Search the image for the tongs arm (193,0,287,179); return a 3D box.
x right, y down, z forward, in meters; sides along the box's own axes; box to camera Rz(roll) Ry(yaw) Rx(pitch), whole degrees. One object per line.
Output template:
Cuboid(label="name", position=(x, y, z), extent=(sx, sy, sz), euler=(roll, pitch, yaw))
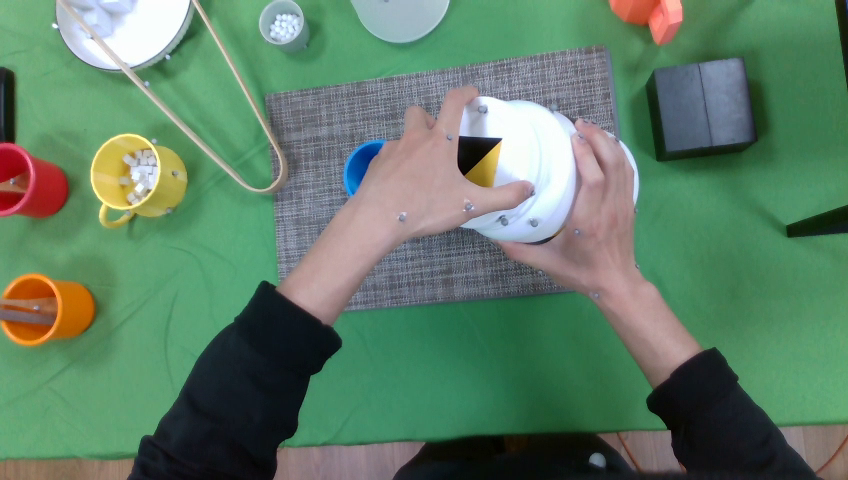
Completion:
Cuboid(label="tongs arm", position=(-0.277, -0.255, 0.803), extent=(0.028, 0.028, 0.387), euler=(-30, 88, -4))

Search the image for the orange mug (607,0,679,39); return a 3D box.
Cuboid(label="orange mug", position=(0.269, -0.308, 0.716), extent=(0.083, 0.101, 0.125), euler=(-16, 78, 7))

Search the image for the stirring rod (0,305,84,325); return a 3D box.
Cuboid(label="stirring rod", position=(-0.533, 0.090, 0.772), extent=(0.006, 0.177, 0.014), euler=(-22, 61, 49))

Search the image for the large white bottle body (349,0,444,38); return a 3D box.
Cuboid(label="large white bottle body", position=(-0.046, -0.339, 0.720), extent=(0.130, 0.185, 0.130), euler=(-1, 84, 9))

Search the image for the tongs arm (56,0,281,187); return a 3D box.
Cuboid(label="tongs arm", position=(-0.343, -0.202, 0.805), extent=(0.051, 0.026, 0.384), euler=(-44, 88, -1))

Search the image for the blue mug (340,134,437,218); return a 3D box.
Cuboid(label="blue mug", position=(-0.032, -0.069, 0.731), extent=(0.116, 0.106, 0.082), euler=(20, 88, 9))

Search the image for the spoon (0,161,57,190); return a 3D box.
Cuboid(label="spoon", position=(-0.588, -0.067, 0.794), extent=(0.194, 0.022, 0.041), euler=(-24, 77, -39))

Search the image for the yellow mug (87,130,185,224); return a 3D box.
Cuboid(label="yellow mug", position=(-0.390, -0.077, 0.806), extent=(0.099, 0.064, 0.131), euler=(33, 91, 10))

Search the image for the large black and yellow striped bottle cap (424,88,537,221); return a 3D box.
Cuboid(label="large black and yellow striped bottle cap", position=(0.046, -0.073, 0.526), extent=(0.114, 0.019, 0.115), euler=(0, 90, 45))

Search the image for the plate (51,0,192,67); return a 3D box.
Cuboid(label="plate", position=(-0.416, -0.340, 0.847), extent=(0.207, 0.039, 0.207), euler=(-1, 86, 8))

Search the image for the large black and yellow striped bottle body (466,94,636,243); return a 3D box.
Cuboid(label="large black and yellow striped bottle body", position=(0.107, -0.066, 0.590), extent=(0.130, 0.185, 0.130), euler=(-4, 84, 44))

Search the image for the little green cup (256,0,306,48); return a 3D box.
Cuboid(label="little green cup", position=(-0.188, -0.289, 0.810), extent=(0.061, 0.039, 0.061), euler=(-1, 86, 8))

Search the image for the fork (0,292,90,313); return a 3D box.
Cuboid(label="fork", position=(-0.543, 0.073, 0.772), extent=(0.209, 0.018, 0.028), euler=(11, 84, -35))
